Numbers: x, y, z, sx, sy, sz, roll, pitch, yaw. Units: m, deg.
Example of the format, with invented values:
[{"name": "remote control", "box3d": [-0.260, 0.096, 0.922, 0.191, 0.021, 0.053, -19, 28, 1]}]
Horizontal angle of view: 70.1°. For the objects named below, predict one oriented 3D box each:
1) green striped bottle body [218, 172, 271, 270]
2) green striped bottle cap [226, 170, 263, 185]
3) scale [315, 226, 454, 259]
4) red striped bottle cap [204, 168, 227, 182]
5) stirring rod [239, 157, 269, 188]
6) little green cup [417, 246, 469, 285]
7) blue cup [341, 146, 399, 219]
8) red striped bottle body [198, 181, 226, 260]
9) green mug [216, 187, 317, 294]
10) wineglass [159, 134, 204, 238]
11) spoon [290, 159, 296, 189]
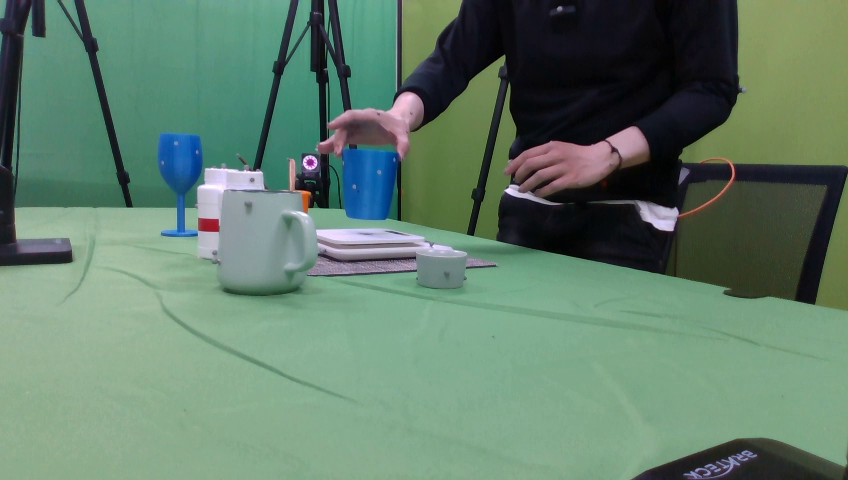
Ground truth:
[{"name": "green striped bottle body", "box3d": [-0.223, -0.025, 0.755, 0.063, 0.119, 0.063, 1, 7, 0]}, {"name": "green striped bottle cap", "box3d": [-0.222, -0.077, 0.748, 0.044, 0.020, 0.044, 1, 7, 0]}, {"name": "scale", "box3d": [-0.066, 0.001, 0.906, 0.202, 0.031, 0.148, -2, 8, -31]}, {"name": "red striped bottle cap", "box3d": [-0.275, -0.088, 0.821, 0.044, 0.017, 0.044, 3, 6, 0]}, {"name": "stirring rod", "box3d": [-0.309, -0.098, 1.209, 0.006, 0.177, 0.014, -39, 29, -4]}, {"name": "little green cup", "box3d": [0.021, 0.029, 0.701, 0.061, 0.038, 0.061, 1, 6, 0]}, {"name": "blue cup", "box3d": [-0.081, -0.083, 0.883, 0.093, 0.100, 0.092, 3, 6, 0]}, {"name": "red striped bottle body", "box3d": [-0.275, -0.036, 0.827, 0.063, 0.119, 0.063, 1, 7, 0]}, {"name": "green mug", "box3d": [-0.157, 0.000, 0.629, 0.124, 0.105, 0.093, 7, 9, 37]}, {"name": "wineglass", "box3d": [-0.415, -0.093, 1.040, 0.074, 0.172, 0.073, 2, 7, 0]}, {"name": "spoon", "box3d": [-0.273, -0.102, 1.252, 0.042, 0.193, 0.021, 7, -38, -17]}]
